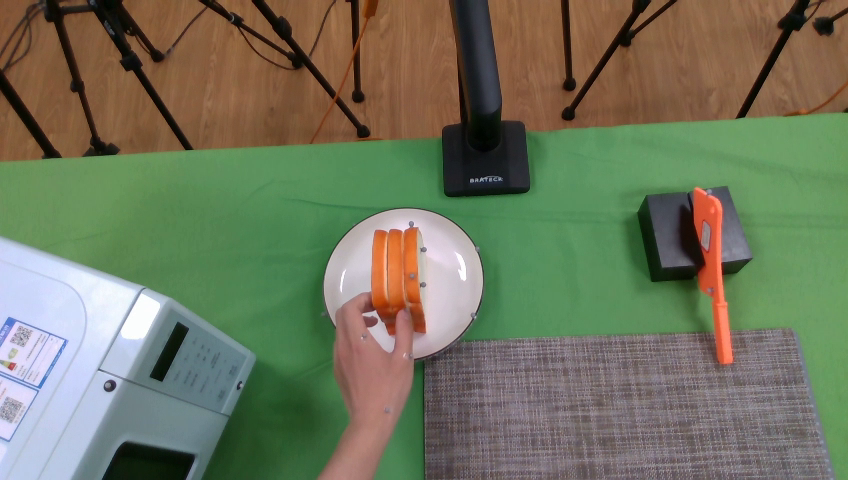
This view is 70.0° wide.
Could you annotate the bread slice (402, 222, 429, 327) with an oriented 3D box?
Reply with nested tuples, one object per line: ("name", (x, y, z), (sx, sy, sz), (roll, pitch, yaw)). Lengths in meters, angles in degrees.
("bread slice", (-0.010, 0.040, 0.723), (0.018, 0.135, 0.106), (-6, 70, 3))

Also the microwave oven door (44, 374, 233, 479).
("microwave oven door", (-0.313, 0.314, 0.568), (0.039, 0.245, 0.354), (16, 70, 12))

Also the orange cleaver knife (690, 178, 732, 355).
("orange cleaver knife", (0.342, 0.030, 0.728), (0.012, 0.077, 0.211), (-9, 97, 1))

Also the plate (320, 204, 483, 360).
("plate", (-0.027, 0.054, 0.779), (0.207, 0.039, 0.206), (-2, 68, 4))

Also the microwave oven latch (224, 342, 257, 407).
("microwave oven latch", (-0.230, 0.160, 0.734), (0.030, 0.030, 0.079), (18, 71, 11))

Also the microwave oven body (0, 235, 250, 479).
("microwave oven body", (-0.436, 0.239, 0.614), (0.325, 0.262, 0.439), (16, 71, 11))
